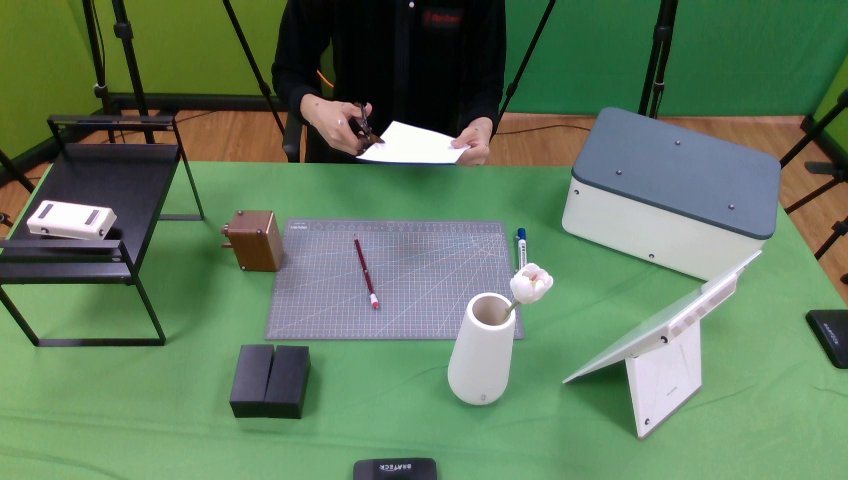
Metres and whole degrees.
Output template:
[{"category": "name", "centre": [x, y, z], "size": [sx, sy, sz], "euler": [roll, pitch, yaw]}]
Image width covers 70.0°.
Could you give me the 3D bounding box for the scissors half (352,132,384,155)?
[{"category": "scissors half", "centre": [-0.096, -0.169, 1.046], "size": [0.013, 0.040, 0.174], "euler": [-6, 7, -21]}]

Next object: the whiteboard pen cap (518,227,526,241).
[{"category": "whiteboard pen cap", "centre": [0.197, -0.009, 1.220], "size": [0.018, 0.018, 0.033], "euler": [6, 51, 1]}]

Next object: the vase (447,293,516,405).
[{"category": "vase", "centre": [0.091, 0.169, 0.921], "size": [0.098, 0.201, 0.097], "euler": [3, 47, -3]}]

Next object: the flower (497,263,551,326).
[{"category": "flower", "centre": [0.103, 0.121, 0.852], "size": [0.044, 0.363, 0.038], "euler": [-2, 64, -9]}]

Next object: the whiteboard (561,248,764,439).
[{"category": "whiteboard", "centre": [0.386, 0.176, 0.905], "size": [0.217, 0.306, 0.143], "euler": [-26, 72, -27]}]

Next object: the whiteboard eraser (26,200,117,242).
[{"category": "whiteboard eraser", "centre": [-0.532, -0.026, 0.919], "size": [0.113, 0.042, 0.055], "euler": [7, 45, 3]}]

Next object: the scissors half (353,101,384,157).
[{"category": "scissors half", "centre": [-0.095, -0.191, 1.036], "size": [0.013, 0.040, 0.174], "euler": [-10, 45, -19]}]

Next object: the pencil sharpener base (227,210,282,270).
[{"category": "pencil sharpener base", "centre": [-0.311, 0.001, 1.112], "size": [0.077, 0.107, 0.061], "euler": [1, 47, 1]}]

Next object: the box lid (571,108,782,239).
[{"category": "box lid", "centre": [0.491, -0.139, 1.168], "size": [0.370, 0.015, 0.262], "euler": [21, 49, 15]}]

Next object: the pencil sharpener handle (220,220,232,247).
[{"category": "pencil sharpener handle", "centre": [-0.362, -0.009, 1.105], "size": [0.030, 0.068, 0.036], "euler": [1, 52, 1]}]

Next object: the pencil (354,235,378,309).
[{"category": "pencil", "centre": [-0.112, 0.055, 1.143], "size": [0.012, 0.012, 0.192], "euler": [-10, 46, -13]}]

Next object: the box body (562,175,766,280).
[{"category": "box body", "centre": [0.486, -0.088, 1.222], "size": [0.363, 0.161, 0.253], "euler": [20, 48, 15]}]

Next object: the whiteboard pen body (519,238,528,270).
[{"category": "whiteboard pen body", "centre": [0.193, 0.035, 1.180], "size": [0.017, 0.017, 0.140], "euler": [6, 48, 1]}]
